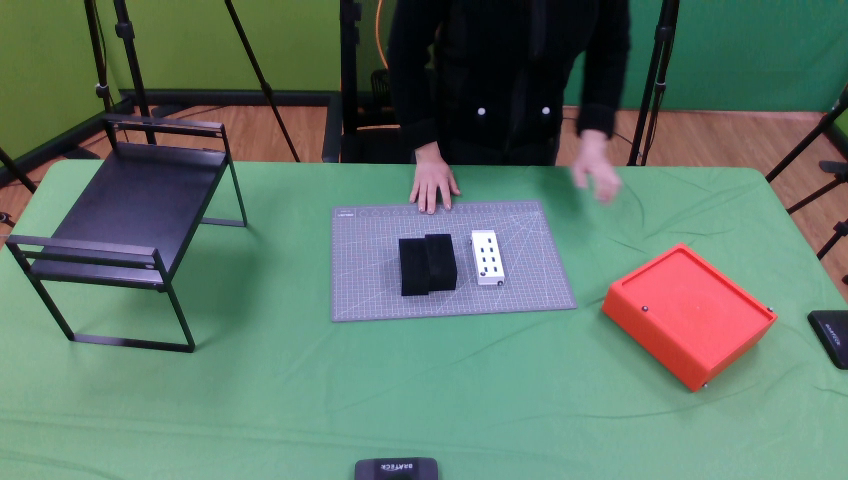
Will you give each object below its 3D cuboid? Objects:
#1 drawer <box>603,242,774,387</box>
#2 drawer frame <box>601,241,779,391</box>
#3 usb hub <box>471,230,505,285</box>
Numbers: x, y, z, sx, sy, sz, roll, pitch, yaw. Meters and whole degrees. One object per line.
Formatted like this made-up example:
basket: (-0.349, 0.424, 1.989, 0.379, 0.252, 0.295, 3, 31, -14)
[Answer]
drawer: (0.461, 0.125, 1.067, 0.194, 0.073, 0.210, -25, 53, -26)
drawer frame: (0.462, 0.125, 1.066, 0.202, 0.083, 0.212, -26, 54, -26)
usb hub: (0.121, 0.032, 1.168, 0.049, 0.025, 0.124, -2, 46, -5)
